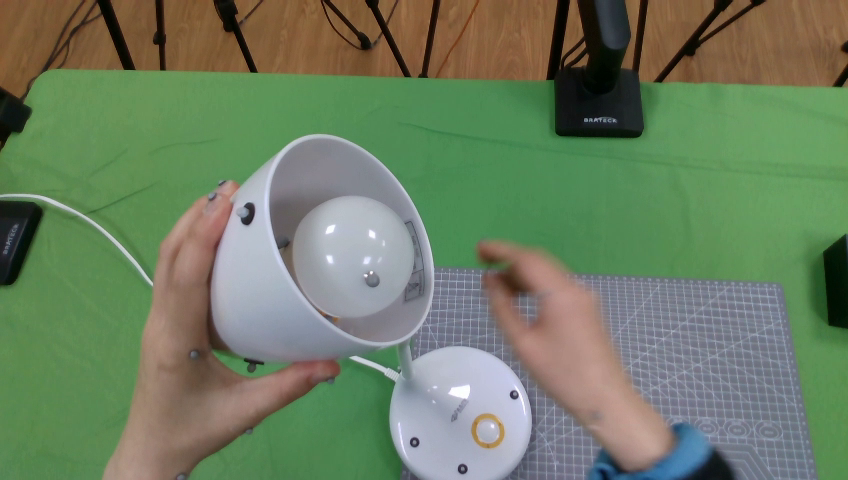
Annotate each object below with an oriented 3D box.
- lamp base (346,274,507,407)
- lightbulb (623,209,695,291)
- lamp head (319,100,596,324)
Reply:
[{"bbox_3d":[-0.007,0.078,0.603,0.179,0.181,0.160,8,73,10],"label":"lamp base"},{"bbox_3d":[0.256,0.008,0.675,0.059,0.060,0.106,-22,57,-2],"label":"lightbulb"},{"bbox_3d":[0.007,-0.020,0.321,0.124,0.112,0.112,16,72,-23],"label":"lamp head"}]
